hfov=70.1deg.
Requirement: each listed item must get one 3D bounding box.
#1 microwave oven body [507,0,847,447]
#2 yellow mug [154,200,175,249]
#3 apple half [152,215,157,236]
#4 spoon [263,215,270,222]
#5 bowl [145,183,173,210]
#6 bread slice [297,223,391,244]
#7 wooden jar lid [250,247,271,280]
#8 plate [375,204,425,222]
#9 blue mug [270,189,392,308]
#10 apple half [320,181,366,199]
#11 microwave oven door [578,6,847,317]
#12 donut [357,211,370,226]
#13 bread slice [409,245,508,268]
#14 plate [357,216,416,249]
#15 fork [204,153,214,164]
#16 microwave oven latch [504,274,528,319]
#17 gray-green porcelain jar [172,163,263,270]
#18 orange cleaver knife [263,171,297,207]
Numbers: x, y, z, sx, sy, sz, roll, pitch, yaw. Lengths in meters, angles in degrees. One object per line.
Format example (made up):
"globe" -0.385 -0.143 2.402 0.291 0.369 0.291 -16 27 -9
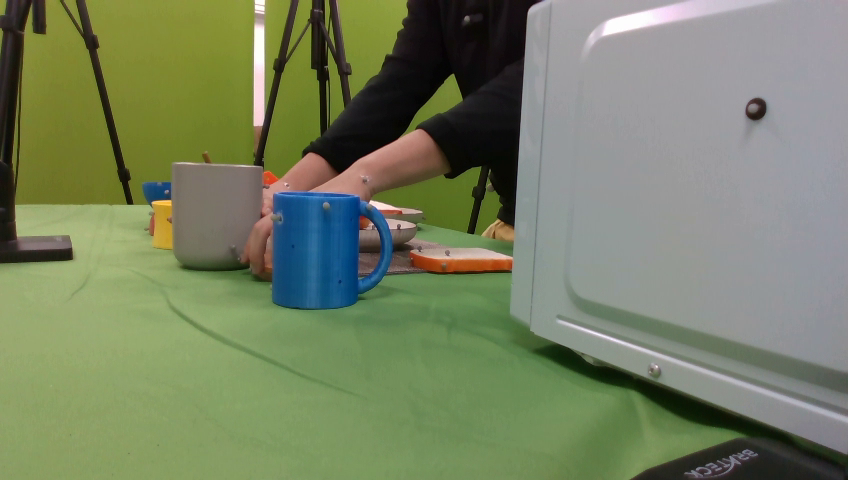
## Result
"microwave oven body" 0.331 -0.042 0.425 0.444 0.260 0.324 -2 8 -31
"yellow mug" -0.337 -0.023 0.899 0.130 0.064 0.100 7 9 34
"apple half" -0.415 -0.034 1.017 0.081 0.053 0.074 1 10 -8
"spoon" -0.200 -0.032 0.962 0.041 0.021 0.195 3 -2 32
"bowl" -0.459 -0.068 1.175 0.151 0.077 0.151 3 7 0
"bread slice" -0.121 -0.012 0.970 0.106 0.018 0.135 9 12 41
"wooden jar lid" -0.147 0.026 0.708 0.108 0.020 0.108 2 15 0
"plate" -0.102 -0.053 1.299 0.209 0.038 0.209 2 8 0
"blue mug" -0.090 0.005 0.588 0.117 0.106 0.082 1 7 -11
"apple half" -0.130 -0.077 0.952 0.081 0.033 0.081 3 14 0
"microwave oven door" 0.294 -0.067 0.570 0.358 0.243 0.039 -3 9 -31
"donut" -0.132 -0.042 0.959 0.099 0.048 0.099 2 7 0
"bread slice" 0.048 0.021 0.816 0.132 0.019 0.104 0 7 -24
"plate" -0.116 -0.014 0.967 0.208 0.039 0.207 2 7 0
"fork" -0.480 -0.134 1.411 0.028 0.018 0.207 1 -34 0
"microwave oven latch" 0.100 0.041 0.470 0.079 0.029 0.030 -1 7 -27
"gray-green porcelain jar" -0.255 -0.031 0.751 0.106 0.126 0.106 2 7 0
"orange cleaver knife" -0.283 -0.086 1.343 0.212 0.077 0.012 24 -16 -41
